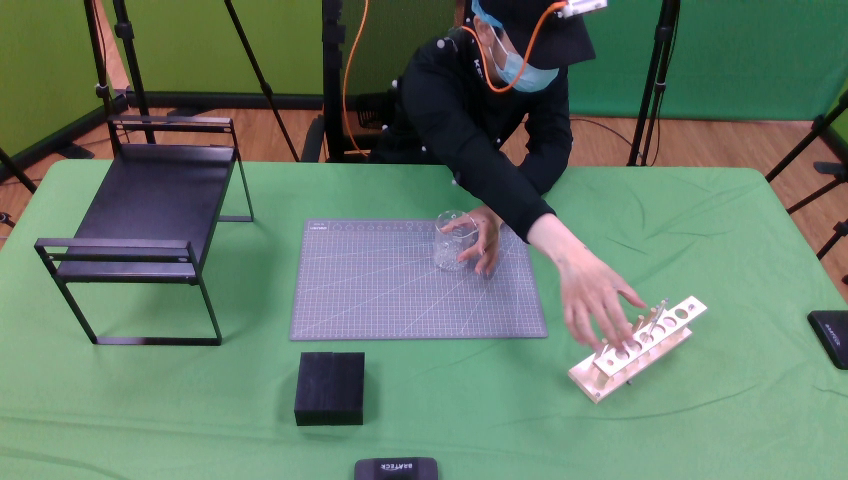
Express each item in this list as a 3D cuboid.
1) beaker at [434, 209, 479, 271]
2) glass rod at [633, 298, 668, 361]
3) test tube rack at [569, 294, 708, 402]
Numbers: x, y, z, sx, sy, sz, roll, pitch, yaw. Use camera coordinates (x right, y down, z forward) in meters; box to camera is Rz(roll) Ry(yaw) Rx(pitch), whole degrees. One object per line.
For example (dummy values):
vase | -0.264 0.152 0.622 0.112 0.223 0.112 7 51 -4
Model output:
beaker | 0.058 0.002 1.138 0.084 0.101 0.073 7 47 3
glass rod | 0.349 0.143 0.945 0.008 0.201 0.008 -1 54 1
test tube rack | 0.360 0.167 1.015 0.242 0.085 0.066 -25 53 -25
